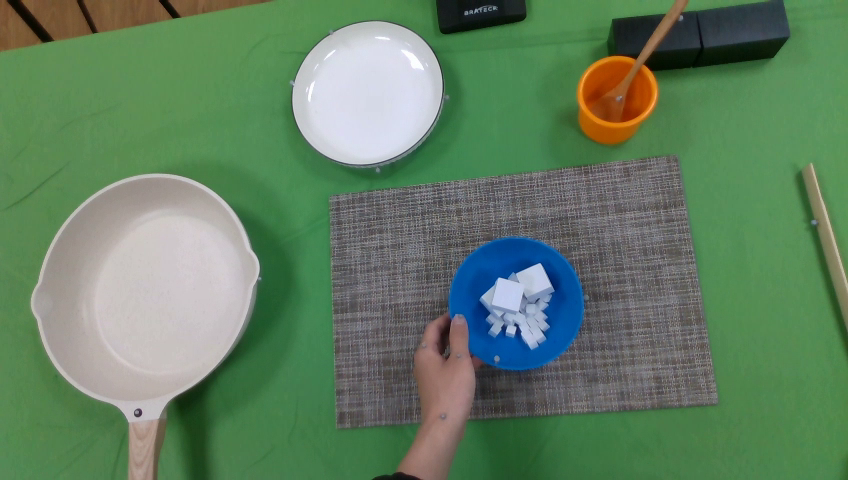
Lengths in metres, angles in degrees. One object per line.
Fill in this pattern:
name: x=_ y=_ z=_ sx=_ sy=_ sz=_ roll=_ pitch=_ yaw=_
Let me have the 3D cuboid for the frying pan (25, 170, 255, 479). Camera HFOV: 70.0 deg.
frying pan: x=-0.343 y=0.153 z=0.745 sx=0.306 sy=0.103 sz=0.484 roll=-8 pitch=69 yaw=7

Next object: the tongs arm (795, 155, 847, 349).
tongs arm: x=0.483 y=0.086 z=0.679 sx=0.028 sy=0.028 sz=0.385 roll=-11 pitch=78 yaw=4

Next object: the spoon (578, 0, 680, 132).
spoon: x=0.244 y=-0.209 z=0.712 sx=0.041 sy=0.194 sz=0.021 roll=44 pitch=43 yaw=18

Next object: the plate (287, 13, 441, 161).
plate: x=-0.079 y=-0.201 z=0.814 sx=0.207 sy=0.039 sz=0.206 roll=-2 pitch=78 yaw=8

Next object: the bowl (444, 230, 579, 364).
bowl: x=0.101 y=0.070 z=0.707 sx=0.151 sy=0.077 sz=0.150 roll=-2 pitch=79 yaw=8
